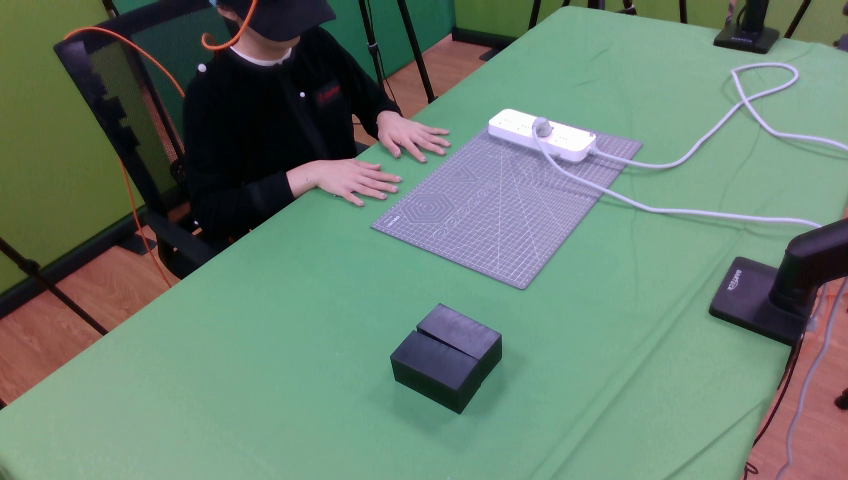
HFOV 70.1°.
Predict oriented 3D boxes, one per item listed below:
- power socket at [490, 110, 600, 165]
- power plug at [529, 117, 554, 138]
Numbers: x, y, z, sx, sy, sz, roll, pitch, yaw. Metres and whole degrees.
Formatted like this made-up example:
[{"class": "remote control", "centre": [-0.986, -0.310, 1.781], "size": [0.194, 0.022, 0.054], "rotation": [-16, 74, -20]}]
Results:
[{"class": "power socket", "centre": [0.226, -0.201, 1.167], "size": [0.225, 0.033, 0.072], "rotation": [26, 53, 33]}, {"class": "power plug", "centre": [0.212, -0.201, 1.131], "size": [0.073, 0.053, 0.035], "rotation": [-29, 44, -25]}]
